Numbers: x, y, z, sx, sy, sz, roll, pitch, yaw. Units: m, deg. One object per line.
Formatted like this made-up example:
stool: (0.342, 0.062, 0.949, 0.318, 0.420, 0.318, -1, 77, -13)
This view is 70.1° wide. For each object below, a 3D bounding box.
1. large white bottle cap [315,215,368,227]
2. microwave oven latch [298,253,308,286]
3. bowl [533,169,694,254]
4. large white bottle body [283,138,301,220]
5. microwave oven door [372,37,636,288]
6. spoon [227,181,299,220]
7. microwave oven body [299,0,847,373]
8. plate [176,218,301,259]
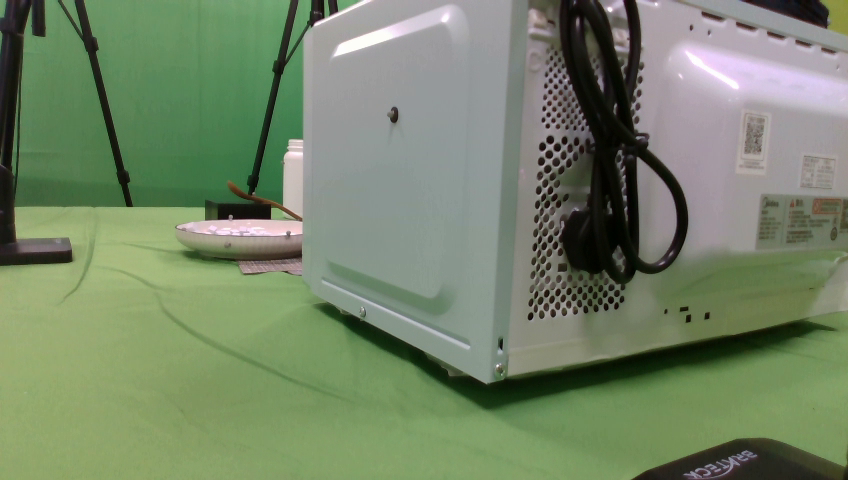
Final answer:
large white bottle cap: (-0.177, -0.041, 1.308, 0.115, 0.018, 0.115, 2, 6, 0)
microwave oven latch: (-0.081, 0.027, 0.582, 0.079, 0.029, 0.030, -1, 7, -32)
bowl: (0.181, -0.030, 0.595, 0.151, 0.077, 0.151, 2, 7, 0)
large white bottle body: (-0.265, -0.143, 1.423, 0.131, 0.184, 0.130, 2, 7, 0)
microwave oven door: (0.110, -0.080, 0.686, 0.358, 0.243, 0.039, -2, 9, -33)
spoon: (-0.315, -0.074, 1.234, 0.195, 0.021, 0.041, 24, -10, -37)
microwave oven body: (0.152, -0.055, 0.542, 0.444, 0.260, 0.324, -2, 7, -33)
plate: (-0.248, -0.003, 0.877, 0.209, 0.038, 0.209, 1, 8, 0)
